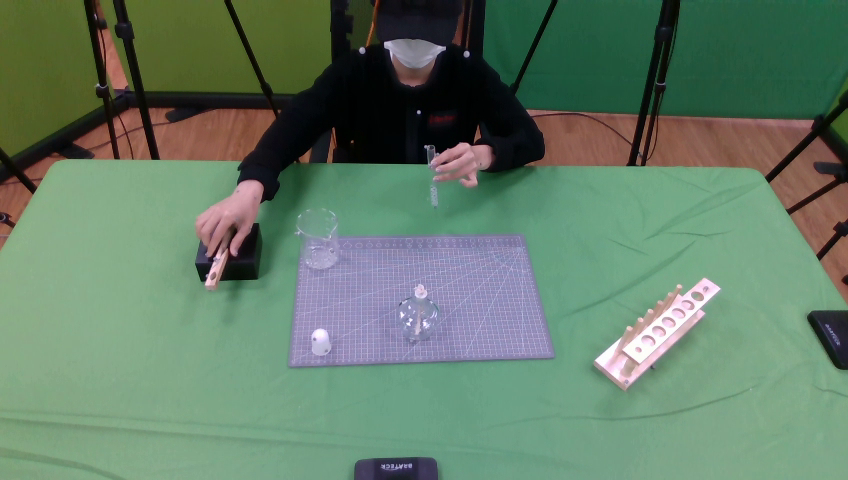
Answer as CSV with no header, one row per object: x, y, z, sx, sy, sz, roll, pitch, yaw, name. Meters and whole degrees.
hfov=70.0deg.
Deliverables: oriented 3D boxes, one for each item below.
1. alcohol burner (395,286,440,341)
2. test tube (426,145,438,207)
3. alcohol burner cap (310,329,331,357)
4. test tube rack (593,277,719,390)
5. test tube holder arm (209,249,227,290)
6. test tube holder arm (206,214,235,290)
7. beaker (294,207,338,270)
-0.010,0.116,1.018,0.078,0.119,0.077,3,47,-3,alcohol burner
0.016,-0.119,1.158,0.017,0.151,0.017,-2,47,3,test tube
-0.173,0.168,1.005,0.034,0.048,0.033,2,46,-2,alcohol burner cap
0.401,0.148,1.043,0.242,0.085,0.066,-30,55,-29,test tube rack
-0.359,0.050,1.059,0.010,0.015,0.087,8,45,-8,test tube holder arm
-0.365,0.017,1.090,0.013,0.015,0.177,7,45,-8,test tube holder arm
-0.196,0.003,1.123,0.074,0.101,0.083,-23,53,-24,beaker
